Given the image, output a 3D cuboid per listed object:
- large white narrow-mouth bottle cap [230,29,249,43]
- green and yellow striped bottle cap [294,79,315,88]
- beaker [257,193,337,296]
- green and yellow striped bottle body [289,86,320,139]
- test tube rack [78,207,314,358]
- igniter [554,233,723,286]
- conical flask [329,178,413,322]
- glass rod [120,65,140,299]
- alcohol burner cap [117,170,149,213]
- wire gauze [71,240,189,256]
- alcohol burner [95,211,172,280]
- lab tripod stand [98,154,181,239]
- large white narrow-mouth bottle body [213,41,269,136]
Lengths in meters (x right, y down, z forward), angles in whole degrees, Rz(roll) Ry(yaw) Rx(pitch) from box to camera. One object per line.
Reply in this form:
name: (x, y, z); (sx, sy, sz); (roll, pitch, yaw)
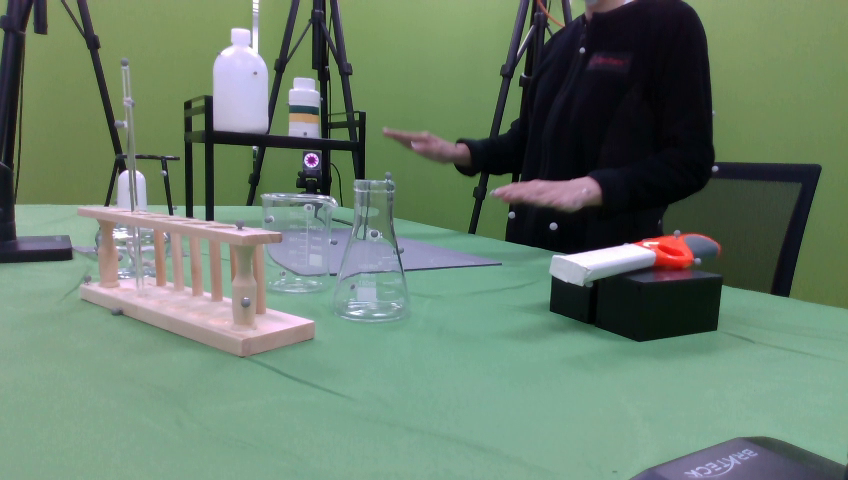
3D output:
large white narrow-mouth bottle cap: (-0.352, -0.387, 1.152); (0.038, 0.024, 0.037); (1, 8, 0)
green and yellow striped bottle cap: (-0.248, -0.323, 1.256); (0.045, 0.020, 0.045); (3, 9, 0)
beaker: (-0.130, 0.004, 0.628); (0.084, 0.100, 0.074); (5, 8, 15)
green and yellow striped bottle body: (-0.250, -0.272, 1.261); (0.063, 0.119, 0.063); (3, 7, 0)
test tube rack: (-0.196, 0.024, 0.500); (0.241, 0.085, 0.067); (8, 8, 37)
igniter: (0.214, 0.015, 0.570); (0.278, 0.025, 0.057); (-5, 22, -44)
conical flask: (-0.045, 0.007, 0.534); (0.075, 0.122, 0.075); (2, 7, 0)
glass rod: (-0.249, -0.047, 0.513); (0.008, 0.199, 0.008); (-1, 4, 0)
alcohol burner cap: (-0.320, -0.052, 0.661); (0.034, 0.048, 0.034); (-3, 0, 0)
wire gauze: (-0.399, 0.013, 0.820); (0.126, 0.011, 0.121); (-3, 8, -37)
alcohol burner: (-0.320, -0.016, 0.667); (0.078, 0.119, 0.078); (0, 7, 0)
lab tripod stand: (-0.427, -0.066, 0.942); (0.148, 0.131, 0.148); (1, 6, 0)
large white narrow-mouth bottle body: (-0.353, -0.301, 1.166); (0.102, 0.194, 0.102); (1, 8, 0)
